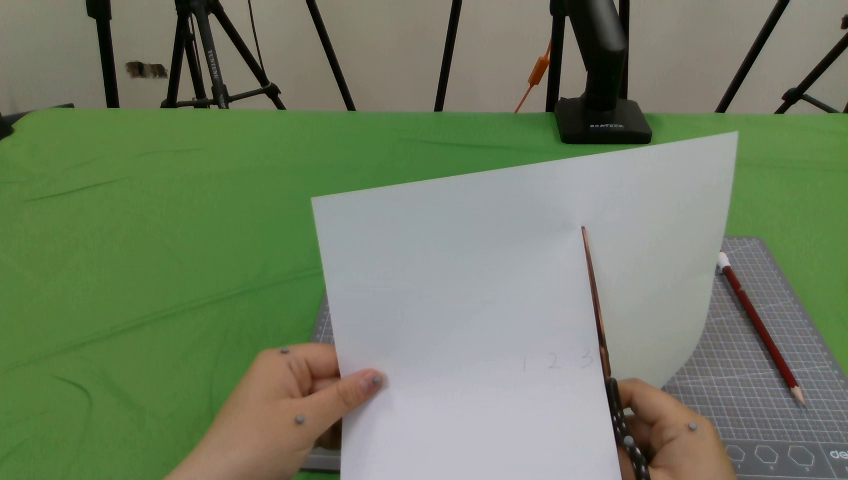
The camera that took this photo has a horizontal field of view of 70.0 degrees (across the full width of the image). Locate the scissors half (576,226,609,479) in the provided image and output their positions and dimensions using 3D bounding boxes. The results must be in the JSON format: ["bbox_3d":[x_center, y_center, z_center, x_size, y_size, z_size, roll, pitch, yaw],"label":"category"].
[{"bbox_3d":[0.102,0.077,0.360,0.013,0.176,0.040,-10,11,0],"label":"scissors half"}]

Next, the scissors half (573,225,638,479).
[{"bbox_3d":[0.101,0.077,0.340,0.013,0.174,0.040,-11,-7,6],"label":"scissors half"}]

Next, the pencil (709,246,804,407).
[{"bbox_3d":[0.295,0.069,0.544,0.012,0.012,0.192,-1,39,1],"label":"pencil"}]
